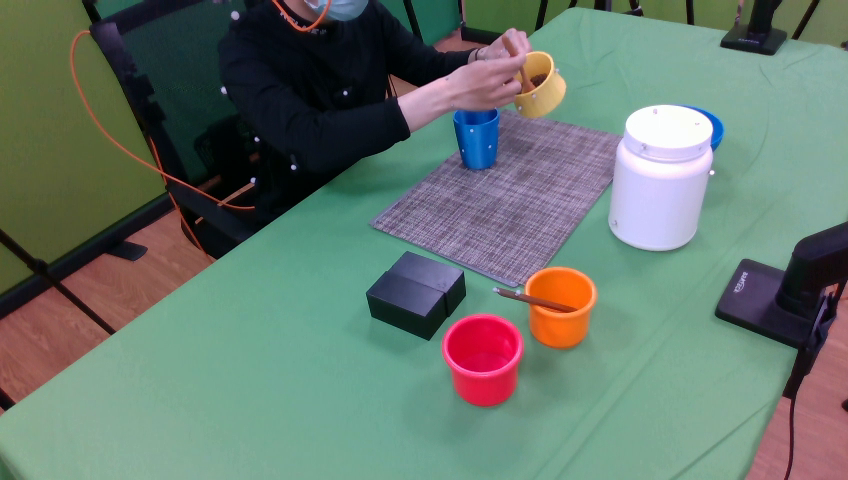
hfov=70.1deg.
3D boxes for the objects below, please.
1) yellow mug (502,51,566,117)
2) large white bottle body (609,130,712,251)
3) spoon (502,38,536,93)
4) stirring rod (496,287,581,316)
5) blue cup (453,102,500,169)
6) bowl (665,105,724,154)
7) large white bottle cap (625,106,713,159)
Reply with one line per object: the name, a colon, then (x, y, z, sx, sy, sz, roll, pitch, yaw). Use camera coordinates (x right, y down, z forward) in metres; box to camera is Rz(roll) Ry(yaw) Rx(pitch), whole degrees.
yellow mug: (0.198, -0.297, 1.119, 0.099, 0.064, 0.130, -29, 49, 17)
large white bottle body: (0.351, -0.090, 0.904, 0.130, 0.185, 0.130, -5, 41, 4)
spoon: (0.168, -0.288, 1.039, 0.041, 0.195, 0.021, 7, 71, 30)
stirring rod: (0.150, 0.080, 0.773, 0.178, 0.006, 0.014, 17, 21, -42)
blue cup: (0.099, -0.188, 1.115, 0.092, 0.100, 0.092, -4, 39, 4)
bowl: (0.438, -0.166, 1.063, 0.151, 0.077, 0.150, -4, 41, 4)
large white bottle cap: (0.342, -0.153, 0.848, 0.115, 0.018, 0.114, -4, 41, 4)
